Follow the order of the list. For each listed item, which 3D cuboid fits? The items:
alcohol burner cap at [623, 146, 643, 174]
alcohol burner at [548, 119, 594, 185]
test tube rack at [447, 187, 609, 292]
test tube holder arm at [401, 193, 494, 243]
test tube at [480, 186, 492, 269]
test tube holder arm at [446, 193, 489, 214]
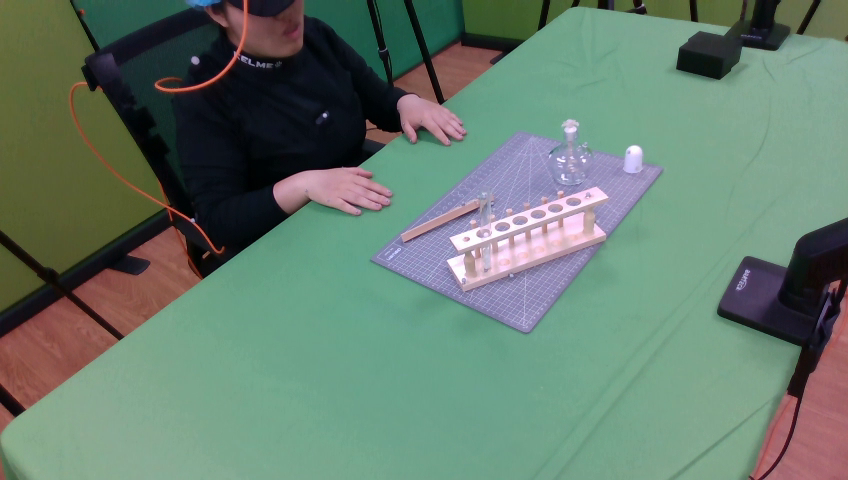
[{"bbox_3d":[0.369,-0.143,1.061,0.034,0.048,0.033,-6,41,6],"label":"alcohol burner cap"},{"bbox_3d":[0.254,-0.155,1.043,0.078,0.120,0.077,-7,40,6],"label":"alcohol burner"},{"bbox_3d":[0.154,-0.011,0.913,0.243,0.085,0.066,-19,41,-11],"label":"test tube rack"},{"bbox_3d":[0.041,-0.039,1.018,0.179,0.015,0.013,-26,9,-18],"label":"test tube holder arm"},{"bbox_3d":[0.088,-0.014,0.852,0.017,0.151,0.017,-3,42,3],"label":"test tube"},{"bbox_3d":[0.078,-0.058,1.037,0.088,0.015,0.010,-26,9,-18],"label":"test tube holder arm"}]
